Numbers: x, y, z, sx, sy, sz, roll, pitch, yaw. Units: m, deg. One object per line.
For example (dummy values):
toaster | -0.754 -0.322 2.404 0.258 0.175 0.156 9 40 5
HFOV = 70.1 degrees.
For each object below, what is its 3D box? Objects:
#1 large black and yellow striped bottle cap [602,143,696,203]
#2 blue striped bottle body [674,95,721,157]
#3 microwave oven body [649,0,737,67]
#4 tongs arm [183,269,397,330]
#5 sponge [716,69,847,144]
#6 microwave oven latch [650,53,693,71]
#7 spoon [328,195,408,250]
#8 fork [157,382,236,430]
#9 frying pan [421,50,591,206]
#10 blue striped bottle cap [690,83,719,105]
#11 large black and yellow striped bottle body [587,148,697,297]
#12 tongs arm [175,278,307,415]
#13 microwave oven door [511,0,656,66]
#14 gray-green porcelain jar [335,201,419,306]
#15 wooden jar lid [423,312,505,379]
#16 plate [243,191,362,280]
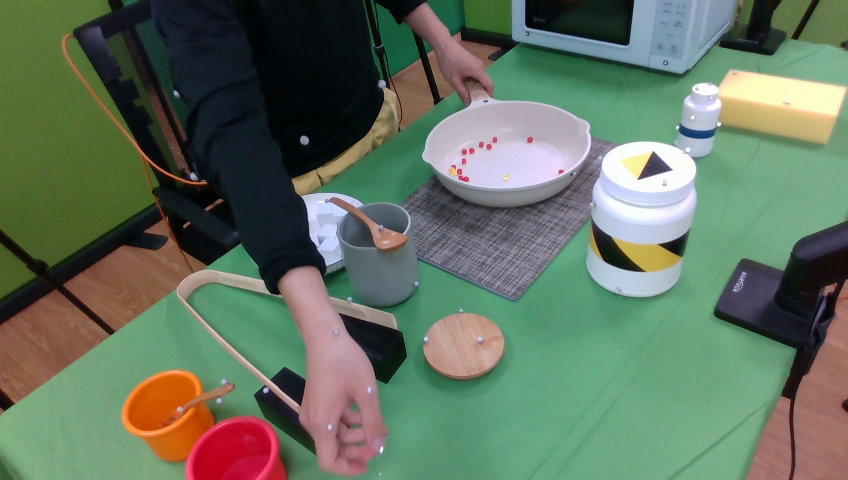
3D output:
large black and yellow striped bottle cap | 0.289 -0.088 0.778 0.115 0.019 0.114 -5 39 4
blue striped bottle body | 0.486 -0.213 1.072 0.063 0.121 0.063 -4 41 4
microwave oven body | 0.475 -0.602 1.411 0.438 0.261 0.327 23 50 32
tongs arm | -0.203 0.085 0.846 0.382 0.026 0.051 11 42 35
sponge | 0.663 -0.256 1.142 0.205 0.061 0.118 19 47 28
microwave oven latch | 0.531 -0.386 1.301 0.078 0.029 0.030 26 51 33
spoon | -0.083 -0.030 0.829 0.042 0.022 0.192 -30 42 -22
fork | -0.262 0.189 0.690 0.018 0.206 0.028 49 43 -7
frying pan | 0.127 -0.233 1.155 0.307 0.103 0.484 -11 49 -5
blue striped bottle cap | 0.481 -0.251 1.038 0.044 0.021 0.044 -5 39 5
large black and yellow striped bottle body | 0.298 -0.026 0.835 0.131 0.185 0.130 -4 41 4
tongs arm | -0.255 0.130 0.798 0.028 0.028 0.384 -39 39 -25
microwave oven door | 0.350 -0.539 1.348 0.353 0.245 0.039 24 50 31
gray-green porcelain jar | -0.064 0.024 0.872 0.106 0.127 0.105 -4 41 4
wooden jar lid | 0.053 0.142 0.801 0.108 0.021 0.108 -5 40 4
plate | -0.187 -0.005 0.992 0.207 0.039 0.206 -4 41 4
